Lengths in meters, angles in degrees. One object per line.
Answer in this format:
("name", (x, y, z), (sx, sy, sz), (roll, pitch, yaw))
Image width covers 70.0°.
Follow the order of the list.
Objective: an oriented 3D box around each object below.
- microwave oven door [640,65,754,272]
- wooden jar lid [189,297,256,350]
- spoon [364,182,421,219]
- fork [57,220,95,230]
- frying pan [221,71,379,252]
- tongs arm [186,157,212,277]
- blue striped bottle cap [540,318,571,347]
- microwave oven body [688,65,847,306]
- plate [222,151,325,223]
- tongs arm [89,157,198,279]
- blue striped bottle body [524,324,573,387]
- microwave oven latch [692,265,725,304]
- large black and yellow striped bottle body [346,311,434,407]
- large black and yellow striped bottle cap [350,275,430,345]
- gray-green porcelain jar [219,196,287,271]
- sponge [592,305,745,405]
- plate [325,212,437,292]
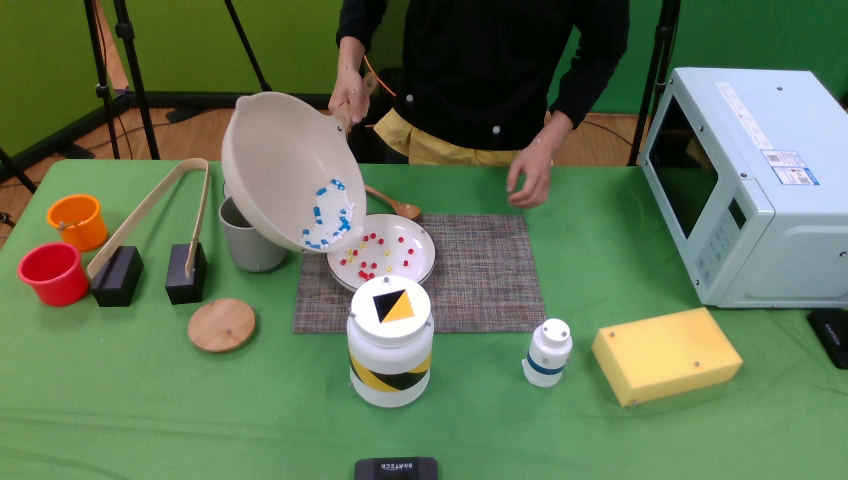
("microwave oven door", (0.523, -0.147, 1.193), (0.039, 0.245, 0.353), (0, 47, -3))
("wooden jar lid", (-0.342, 0.145, 1.033), (0.108, 0.021, 0.107), (2, 45, -2))
("spoon", (-0.084, -0.092, 1.273), (0.193, 0.022, 0.041), (31, 71, 25))
("fork", (-0.624, -0.027, 1.086), (0.028, 0.207, 0.018), (-3, 92, -17))
("frying pan", (-0.185, -0.177, 1.103), (0.102, 0.308, 0.486), (-18, 32, 40))
("tongs arm", (-0.445, -0.058, 1.168), (0.051, 0.026, 0.382), (-5, 37, -6))
("blue striped bottle cap", (0.203, 0.142, 0.933), (0.044, 0.021, 0.044), (3, 49, -4))
("microwave oven body", (0.669, -0.111, 1.176), (0.326, 0.261, 0.439), (0, 46, -3))
("plate", (-0.310, -0.106, 1.263), (0.208, 0.039, 0.206), (2, 47, -2))
("tongs arm", (-0.529, -0.057, 1.164), (0.028, 0.028, 0.385), (1, 36, 8))
("blue striped bottle body", (0.200, 0.178, 0.970), (0.063, 0.121, 0.062), (2, 46, -2))
("microwave oven latch", (0.522, 0.081, 1.116), (0.030, 0.029, 0.078), (1, 46, -2))
("large black and yellow striped bottle body", (-0.052, 0.157, 0.929), (0.131, 0.185, 0.130), (2, 47, -2))
("large black and yellow striped bottle cap", (-0.048, 0.097, 0.868), (0.115, 0.019, 0.114), (3, 48, -3))
("gray-green porcelain jar", (-0.310, -0.014, 1.113), (0.106, 0.127, 0.105), (2, 47, -2))
("sponge", (0.405, 0.190, 1.014), (0.207, 0.061, 0.117), (-10, 48, -12))
("plate", (-0.080, 0.030, 1.143), (0.209, 0.038, 0.208), (2, 46, -2))
